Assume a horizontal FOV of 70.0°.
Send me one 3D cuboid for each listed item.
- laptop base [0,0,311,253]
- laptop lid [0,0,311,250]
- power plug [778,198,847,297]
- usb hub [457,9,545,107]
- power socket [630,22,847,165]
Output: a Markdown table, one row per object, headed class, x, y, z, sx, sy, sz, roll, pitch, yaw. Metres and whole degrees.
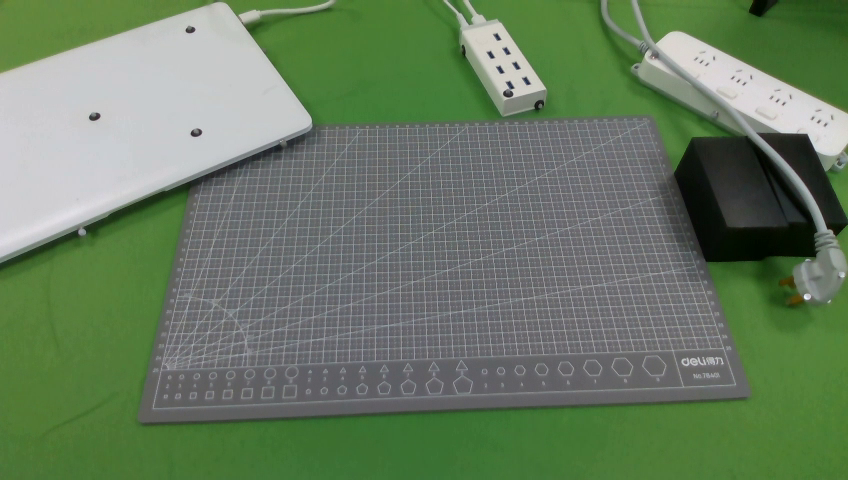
| class | x | y | z | sx | sy | sz | roll | pitch | yaw |
| --- | --- | --- | --- | --- | --- | --- | --- | --- | --- |
| laptop base | -0.316 | -0.120 | 0.593 | 0.354 | 0.023 | 0.233 | -28 | 64 | -17 |
| laptop lid | -0.315 | -0.125 | 0.582 | 0.357 | 0.013 | 0.239 | -26 | 62 | -17 |
| power plug | 0.310 | 0.011 | 0.488 | 0.035 | 0.053 | 0.072 | 22 | 59 | -20 |
| usb hub | 0.079 | -0.195 | 0.642 | 0.049 | 0.025 | 0.124 | -17 | 58 | -11 |
| power socket | 0.320 | -0.152 | 0.611 | 0.225 | 0.033 | 0.072 | 38 | 63 | 23 |
